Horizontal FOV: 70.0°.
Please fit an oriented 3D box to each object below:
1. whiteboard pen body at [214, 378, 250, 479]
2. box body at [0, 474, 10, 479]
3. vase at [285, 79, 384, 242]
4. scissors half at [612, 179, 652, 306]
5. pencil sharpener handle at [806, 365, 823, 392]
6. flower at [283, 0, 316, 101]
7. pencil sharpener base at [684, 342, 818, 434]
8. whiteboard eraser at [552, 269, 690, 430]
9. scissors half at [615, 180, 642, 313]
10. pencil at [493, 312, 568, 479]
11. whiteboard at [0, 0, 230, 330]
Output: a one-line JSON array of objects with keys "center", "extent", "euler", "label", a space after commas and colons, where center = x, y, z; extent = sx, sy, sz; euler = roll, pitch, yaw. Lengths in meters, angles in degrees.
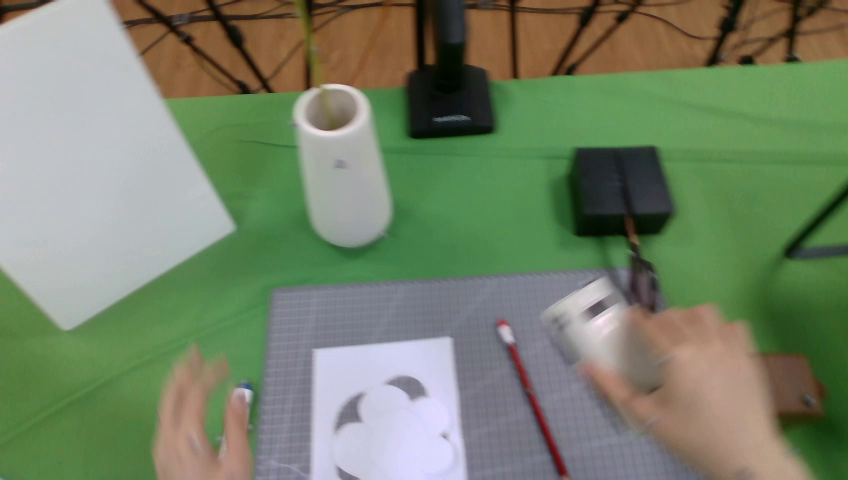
[{"center": [-0.194, 0.206, 0.603], "extent": [0.017, 0.017, 0.139], "euler": [2, 58, 2], "label": "whiteboard pen body"}, {"center": [-0.480, 0.280, 0.477], "extent": [0.363, 0.161, 0.253], "euler": [20, 62, 11], "label": "box body"}, {"center": [-0.099, -0.081, 0.667], "extent": [0.098, 0.201, 0.097], "euler": [-1, 58, 2], "label": "vase"}, {"center": [0.230, -0.004, 0.677], "extent": [0.013, 0.040, 0.173], "euler": [2, 50, -3], "label": "scissors half"}, {"center": [0.363, 0.140, 0.576], "extent": [0.031, 0.068, 0.035], "euler": [0, 53, -3], "label": "pencil sharpener handle"}, {"center": [-0.108, -0.135, 0.602], "extent": [0.044, 0.365, 0.038], "euler": [-10, 42, -2], "label": "flower"}, {"center": [0.311, 0.145, 0.584], "extent": [0.077, 0.108, 0.061], "euler": [0, 59, -3], "label": "pencil sharpener base"}, {"center": [0.146, 0.082, 0.459], "extent": [0.056, 0.042, 0.112], "euler": [-25, 78, -28], "label": "whiteboard eraser"}, {"center": [0.229, 0.006, 0.695], "extent": [0.013, 0.040, 0.174], "euler": [0, 68, 1], "label": "scissors half"}, {"center": [0.111, 0.162, 0.631], "extent": [0.012, 0.012, 0.192], "euler": [-16, 63, -9], "label": "pencil"}, {"center": [-0.394, -0.097, 0.651], "extent": [0.217, 0.309, 0.142], "euler": [-35, 46, -18], "label": "whiteboard"}]
